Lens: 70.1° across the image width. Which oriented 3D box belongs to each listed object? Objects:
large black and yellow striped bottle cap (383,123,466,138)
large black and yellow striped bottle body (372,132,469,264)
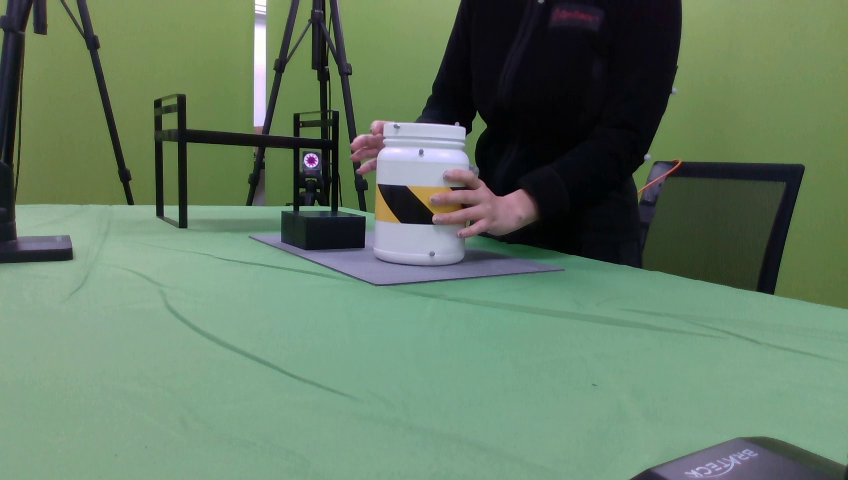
[{"bbox_3d":[0.001,-0.151,0.833,0.115,0.019,0.115,1,9,0],"label":"large black and yellow striped bottle cap"},{"bbox_3d":[-0.004,-0.066,0.844,0.131,0.184,0.130,2,7,0],"label":"large black and yellow striped bottle body"}]
